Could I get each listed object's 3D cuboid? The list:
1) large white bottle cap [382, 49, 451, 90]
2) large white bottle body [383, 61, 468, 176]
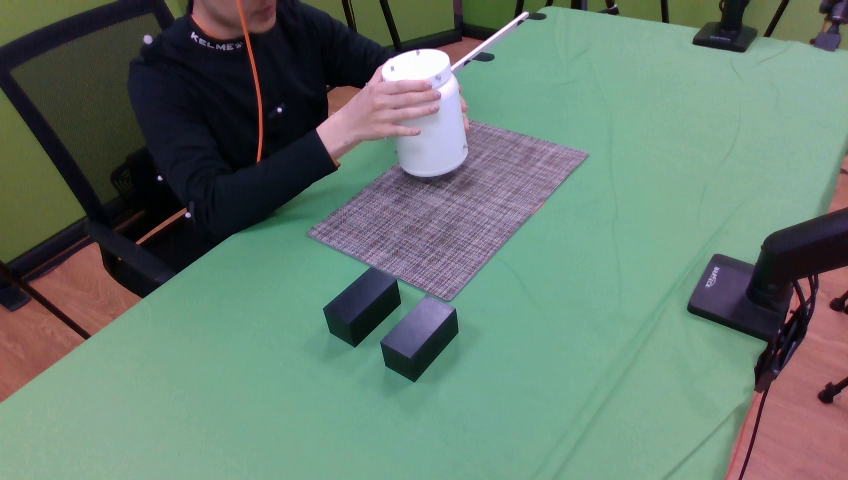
[{"bbox_3d":[-0.013,-0.282,0.996,0.115,0.018,0.114,-7,41,7],"label":"large white bottle cap"},{"bbox_3d":[0.002,-0.220,1.050,0.130,0.185,0.130,-8,40,7],"label":"large white bottle body"}]
